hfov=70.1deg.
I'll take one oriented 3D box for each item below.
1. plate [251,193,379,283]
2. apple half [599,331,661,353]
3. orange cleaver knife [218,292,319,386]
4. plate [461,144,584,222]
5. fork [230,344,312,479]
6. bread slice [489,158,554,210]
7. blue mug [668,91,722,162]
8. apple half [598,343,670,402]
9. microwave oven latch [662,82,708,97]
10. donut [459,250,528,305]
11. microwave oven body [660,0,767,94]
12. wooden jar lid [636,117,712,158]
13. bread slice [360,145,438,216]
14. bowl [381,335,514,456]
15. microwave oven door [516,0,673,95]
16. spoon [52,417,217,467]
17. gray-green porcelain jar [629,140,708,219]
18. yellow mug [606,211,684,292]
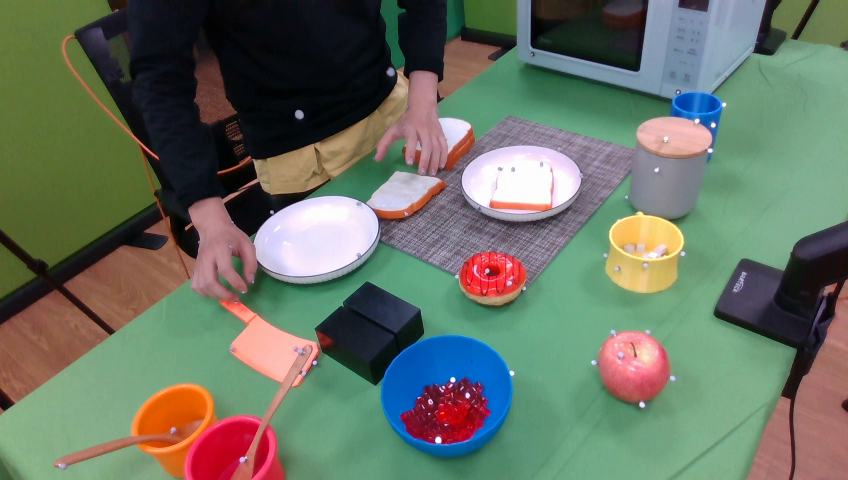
[{"bbox_3d":[-0.174,-0.001,0.985,0.209,0.038,0.208,-4,41,4],"label":"plate"},{"bbox_3d":[0.249,0.134,0.738,0.081,0.081,0.032,-1,46,7],"label":"apple half"},{"bbox_3d":[-0.235,0.136,0.850,0.209,0.012,0.077,25,56,30],"label":"orange cleaver knife"},{"bbox_3d":[0.168,-0.095,1.040,0.207,0.039,0.206,-4,41,4],"label":"plate"},{"bbox_3d":[-0.173,0.205,0.662,0.028,0.019,0.207,29,94,36],"label":"fork"},{"bbox_3d":[0.172,-0.099,1.047,0.104,0.019,0.131,5,43,12],"label":"bread slice"},{"bbox_3d":[0.474,-0.207,1.079,0.082,0.106,0.116,4,42,13],"label":"blue mug"},{"bbox_3d":[0.247,0.161,0.710,0.081,0.075,0.053,2,47,5],"label":"apple half"},{"bbox_3d":[0.518,-0.298,1.202,0.078,0.029,0.030,28,53,35],"label":"microwave oven latch"},{"bbox_3d":[0.100,0.053,0.872,0.099,0.048,0.098,-4,40,4],"label":"donut"},{"bbox_3d":[0.473,-0.516,1.313,0.438,0.261,0.327,26,51,34],"label":"microwave oven body"},{"bbox_3d":[0.377,-0.151,0.917,0.108,0.021,0.108,-2,42,3],"label":"wooden jar lid"},{"bbox_3d":[-0.052,-0.103,1.046,0.106,0.018,0.134,19,67,23],"label":"bread slice"},{"bbox_3d":[0.029,0.192,0.701,0.151,0.077,0.150,-4,40,4],"label":"bowl"},{"bbox_3d":[0.344,-0.458,1.256,0.353,0.245,0.039,26,51,33],"label":"microwave oven door"},{"bbox_3d":[-0.308,0.219,0.663,0.041,0.195,0.021,25,94,29],"label":"spoon"},{"bbox_3d":[0.383,-0.105,0.958,0.106,0.127,0.105,-4,41,4],"label":"gray-green porcelain jar"},{"bbox_3d":[0.318,0.008,0.883,0.100,0.064,0.130,0,40,9],"label":"yellow mug"}]
